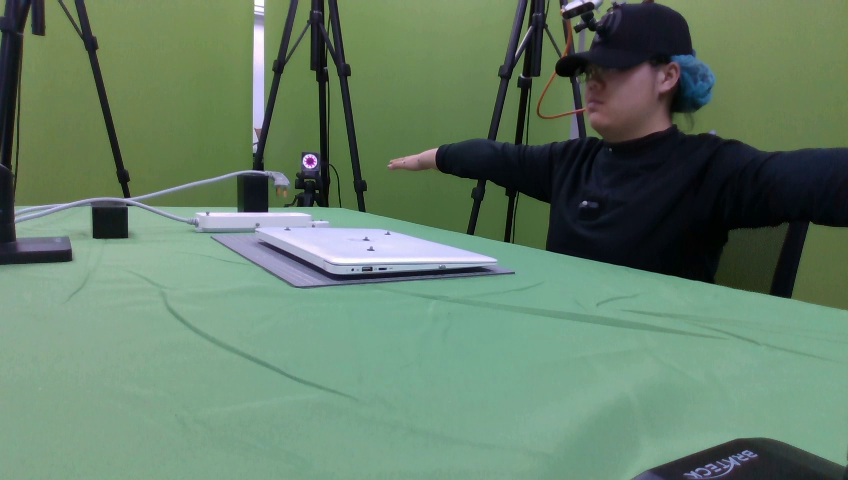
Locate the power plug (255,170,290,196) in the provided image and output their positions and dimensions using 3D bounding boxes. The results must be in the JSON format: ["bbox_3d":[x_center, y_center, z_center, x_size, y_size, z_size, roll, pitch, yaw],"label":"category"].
[{"bbox_3d":[-0.323,-0.120,1.285,0.073,0.052,0.035,2,-13,-13],"label":"power plug"}]

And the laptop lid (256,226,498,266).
[{"bbox_3d":[-0.085,0.004,0.878,0.243,0.013,0.355,1,7,-29],"label":"laptop lid"}]

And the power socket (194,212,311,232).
[{"bbox_3d":[-0.322,-0.037,1.153,0.228,0.032,0.072,-2,8,-34],"label":"power socket"}]

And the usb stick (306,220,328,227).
[{"bbox_3d":[-0.194,-0.020,1.075,0.021,0.027,0.059,5,10,22],"label":"usb stick"}]

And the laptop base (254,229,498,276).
[{"bbox_3d":[-0.088,0.016,0.878,0.237,0.023,0.352,2,6,-31],"label":"laptop base"}]
